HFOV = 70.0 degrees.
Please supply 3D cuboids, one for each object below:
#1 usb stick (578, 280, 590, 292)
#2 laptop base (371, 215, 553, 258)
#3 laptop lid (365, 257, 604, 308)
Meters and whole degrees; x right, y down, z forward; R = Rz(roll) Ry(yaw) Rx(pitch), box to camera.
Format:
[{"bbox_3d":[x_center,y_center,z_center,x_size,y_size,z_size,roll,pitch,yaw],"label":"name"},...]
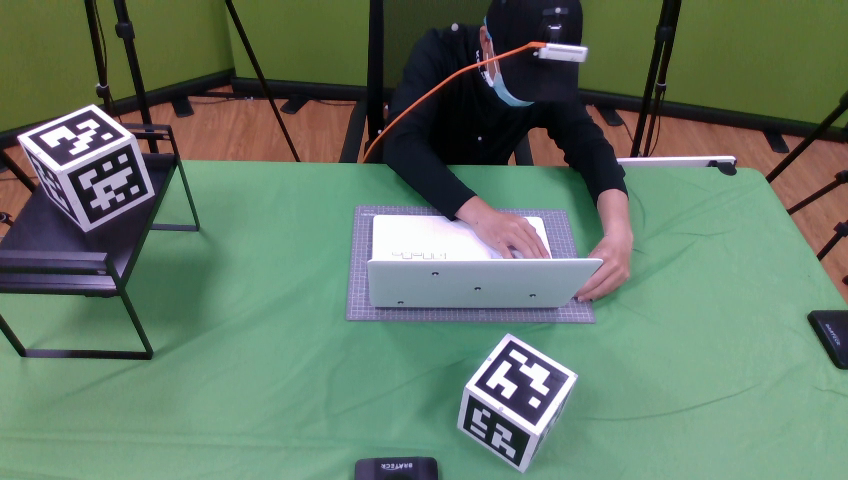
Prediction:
[{"bbox_3d":[0.273,0.082,1.119,0.059,0.027,0.021,-5,48,-1],"label":"usb stick"},{"bbox_3d":[0.075,0.037,1.168,0.355,0.023,0.234,0,42,-4],"label":"laptop base"},{"bbox_3d":[0.085,0.073,0.978,0.357,0.242,0.013,1,67,-5],"label":"laptop lid"}]
